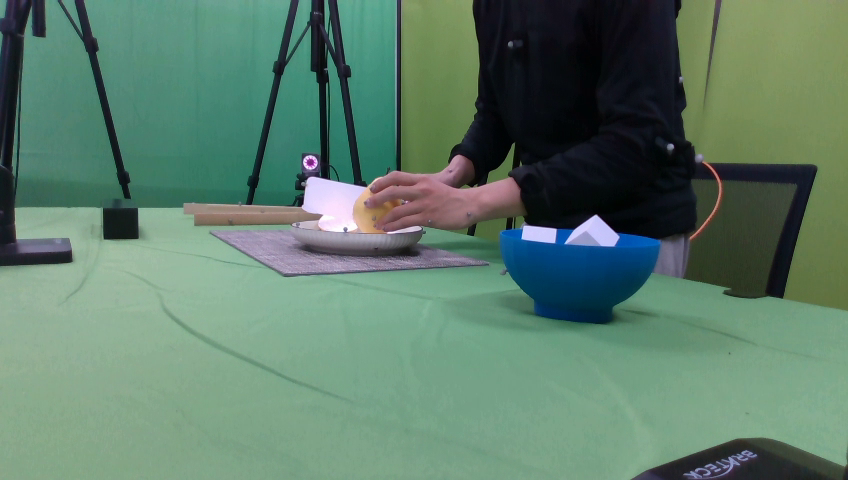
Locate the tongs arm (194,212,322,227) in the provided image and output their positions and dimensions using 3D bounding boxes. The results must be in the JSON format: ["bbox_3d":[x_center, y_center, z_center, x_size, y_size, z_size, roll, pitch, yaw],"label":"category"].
[{"bbox_3d":[-0.298,-0.049,1.307,0.390,0.028,0.028,-4,8,-37],"label":"tongs arm"}]

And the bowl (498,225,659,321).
[{"bbox_3d":[0.144,0.031,0.585,0.151,0.077,0.151,2,7,0],"label":"bowl"}]

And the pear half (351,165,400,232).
[{"bbox_3d":[-0.062,-0.058,0.903,0.055,0.109,0.077,36,35,26],"label":"pear half"}]

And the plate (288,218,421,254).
[{"bbox_3d":[-0.109,-0.007,0.956,0.208,0.039,0.207,2,7,0],"label":"plate"}]

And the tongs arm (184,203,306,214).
[{"bbox_3d":[-0.337,-0.065,1.376,0.387,0.026,0.050,0,10,-25],"label":"tongs arm"}]

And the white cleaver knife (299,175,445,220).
[{"bbox_3d":[-0.080,-0.061,1.017,0.288,0.066,0.021,5,-4,-38],"label":"white cleaver knife"}]

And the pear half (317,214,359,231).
[{"bbox_3d":[-0.144,-0.021,1.012,0.071,0.031,0.087,-2,26,-25],"label":"pear half"}]
